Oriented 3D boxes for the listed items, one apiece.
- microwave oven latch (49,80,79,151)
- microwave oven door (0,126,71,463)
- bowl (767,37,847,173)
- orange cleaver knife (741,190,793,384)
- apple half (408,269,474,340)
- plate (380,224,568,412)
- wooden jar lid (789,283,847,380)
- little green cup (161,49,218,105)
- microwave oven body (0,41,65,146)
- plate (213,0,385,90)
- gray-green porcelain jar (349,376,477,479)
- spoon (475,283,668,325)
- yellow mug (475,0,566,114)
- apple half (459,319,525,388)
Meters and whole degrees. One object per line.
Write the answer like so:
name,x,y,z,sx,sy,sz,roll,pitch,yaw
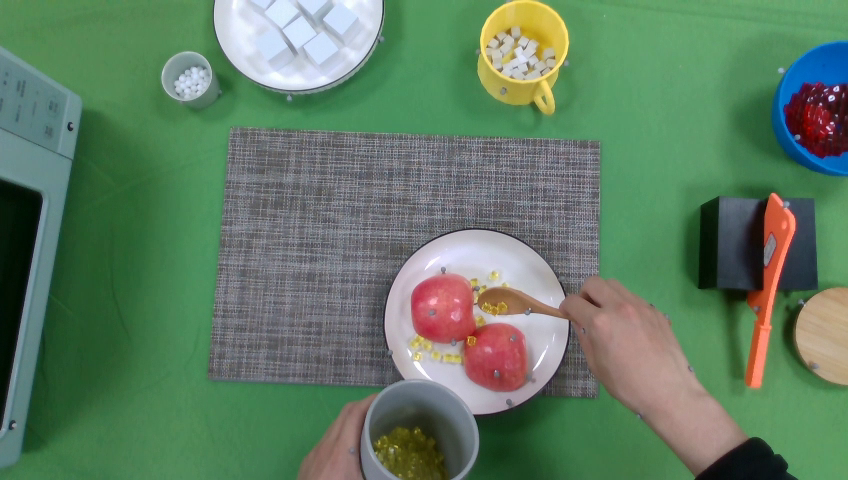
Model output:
microwave oven latch,-0.434,-0.148,0.717,0.030,0.029,0.079,9,84,3
microwave oven door,-0.462,0.055,0.590,0.039,0.244,0.354,5,83,3
bowl,0.454,-0.141,0.684,0.151,0.077,0.151,0,83,2
orange cleaver knife,0.366,0.053,0.662,0.012,0.077,0.212,4,107,6
apple half,0.018,0.071,0.674,0.074,0.053,0.080,-1,84,4
plate,0.055,0.087,0.686,0.209,0.038,0.208,0,83,2
wooden jar lid,0.465,0.103,0.683,0.108,0.021,0.108,0,83,3
little green cup,-0.281,-0.194,0.734,0.061,0.039,0.061,0,83,1
microwave oven body,-0.603,-0.001,0.607,0.326,0.261,0.440,6,84,2
plate,-0.150,-0.280,0.743,0.207,0.039,0.207,0,83,2
gray-green porcelain jar,-0.016,0.209,0.583,0.106,0.127,0.105,9,45,-9
spoon,0.138,0.068,0.595,0.192,0.042,0.021,7,38,35
yellow mug,0.118,-0.208,0.711,0.100,0.064,0.130,-26,84,-2
apple half,0.077,0.127,0.673,0.081,0.033,0.081,0,80,2
